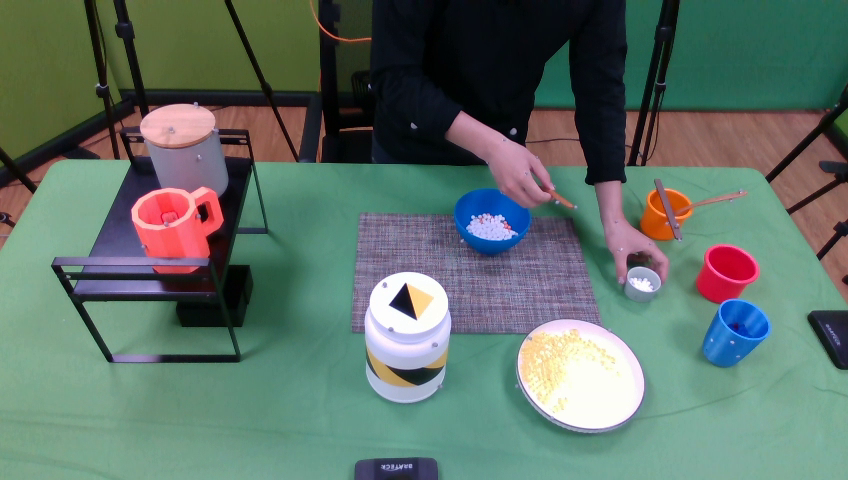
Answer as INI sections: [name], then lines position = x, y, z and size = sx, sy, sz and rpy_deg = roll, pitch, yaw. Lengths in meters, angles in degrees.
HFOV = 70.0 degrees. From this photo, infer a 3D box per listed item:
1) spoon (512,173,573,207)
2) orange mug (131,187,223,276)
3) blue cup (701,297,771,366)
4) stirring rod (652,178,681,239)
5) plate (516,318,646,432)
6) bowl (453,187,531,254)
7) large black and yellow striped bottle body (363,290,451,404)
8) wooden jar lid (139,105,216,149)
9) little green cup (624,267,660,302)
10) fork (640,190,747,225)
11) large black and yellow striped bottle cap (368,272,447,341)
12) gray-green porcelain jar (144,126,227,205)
[spoon]
position = 0.207, -0.089, 1.065
size = 0.042, 0.021, 0.192
rpy_deg = 24, 6, -26
[orange mug]
position = -0.354, -0.022, 0.888
size = 0.083, 0.101, 0.126
rpy_deg = 31, 55, 24
[blue cup]
position = 0.519, 0.162, 1.025
size = 0.093, 0.101, 0.092
rpy_deg = 3, 45, -3
[stirring rod]
position = 0.481, -0.065, 1.204
size = 0.014, 0.006, 0.175
rpy_deg = 1, 46, 0
[plate]
position = 0.253, 0.221, 0.992
size = 0.209, 0.038, 0.208
rpy_deg = 2, 46, -2
[bowl]
position = 0.129, -0.026, 1.187
size = 0.151, 0.077, 0.150
rpy_deg = 2, 46, -2
[large black and yellow striped bottle body]
position = -0.027, 0.153, 0.935
size = 0.131, 0.185, 0.130
rpy_deg = 2, 46, -2
[wooden jar lid]
position = -0.372, -0.169, 0.920
size = 0.108, 0.021, 0.107
rpy_deg = 4, 44, -4
[little green cup]
position = 0.406, 0.084, 1.135
size = 0.061, 0.039, 0.061
rpy_deg = 3, 46, -3
[fork]
position = 0.533, -0.064, 1.211
size = 0.207, 0.019, 0.028
rpy_deg = -22, 28, 38
[large black and yellow striped bottle cap]
position = -0.023, 0.093, 0.875
size = 0.115, 0.019, 0.114
rpy_deg = 3, 46, -3
[gray-green porcelain jar]
position = -0.375, -0.126, 0.967
size = 0.106, 0.127, 0.105
rpy_deg = 2, 46, -2
